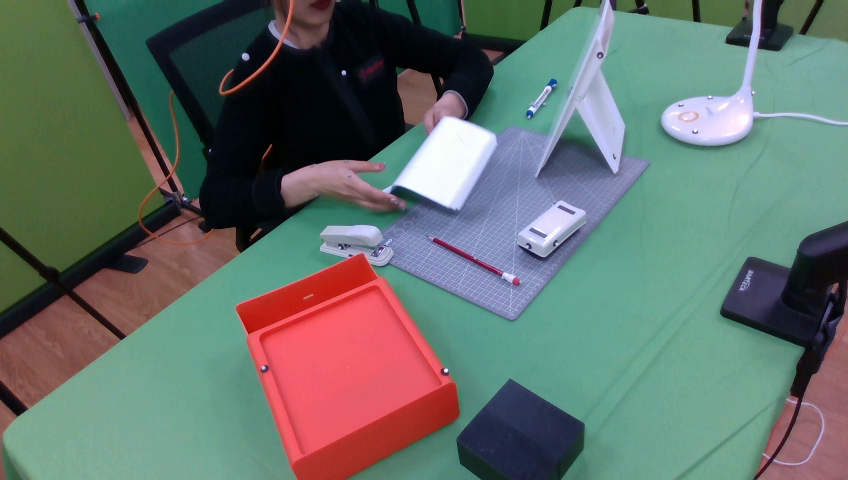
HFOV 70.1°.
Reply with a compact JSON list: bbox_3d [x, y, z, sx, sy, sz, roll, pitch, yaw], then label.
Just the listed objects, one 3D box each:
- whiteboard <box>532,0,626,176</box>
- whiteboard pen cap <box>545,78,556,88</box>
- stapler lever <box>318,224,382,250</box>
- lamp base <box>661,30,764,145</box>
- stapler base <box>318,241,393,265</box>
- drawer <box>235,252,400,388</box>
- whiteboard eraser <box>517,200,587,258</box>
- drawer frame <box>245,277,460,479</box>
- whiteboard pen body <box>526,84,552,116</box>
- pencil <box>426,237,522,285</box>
[{"bbox_3d":[0.321,-0.258,1.049,0.144,0.306,0.217,21,45,5],"label":"whiteboard"},{"bbox_3d":[0.280,-0.344,1.335,0.018,0.018,0.033,15,45,26],"label":"whiteboard pen cap"},{"bbox_3d":[-0.120,-0.010,0.972,0.117,0.040,0.027,11,44,27],"label":"stapler lever"},{"bbox_3d":[0.535,-0.287,1.096,0.179,0.181,0.159,-10,40,-4],"label":"lamp base"},{"bbox_3d":[-0.114,0.009,0.988,0.130,0.024,0.041,12,44,27],"label":"stapler base"},{"bbox_3d":[-0.125,0.132,0.804,0.195,0.073,0.210,-23,42,-17],"label":"drawer"},{"bbox_3d":[0.200,-0.016,0.943,0.113,0.042,0.055,-37,46,-29],"label":"whiteboard eraser"},{"bbox_3d":[-0.093,0.167,0.755,0.202,0.083,0.211,-23,43,-17],"label":"drawer frame"},{"bbox_3d":[0.251,-0.305,1.297,0.017,0.017,0.141,15,45,26],"label":"whiteboard pen body"},{"bbox_3d":[0.072,0.028,0.941,0.192,0.012,0.012,26,52,37],"label":"pencil"}]
